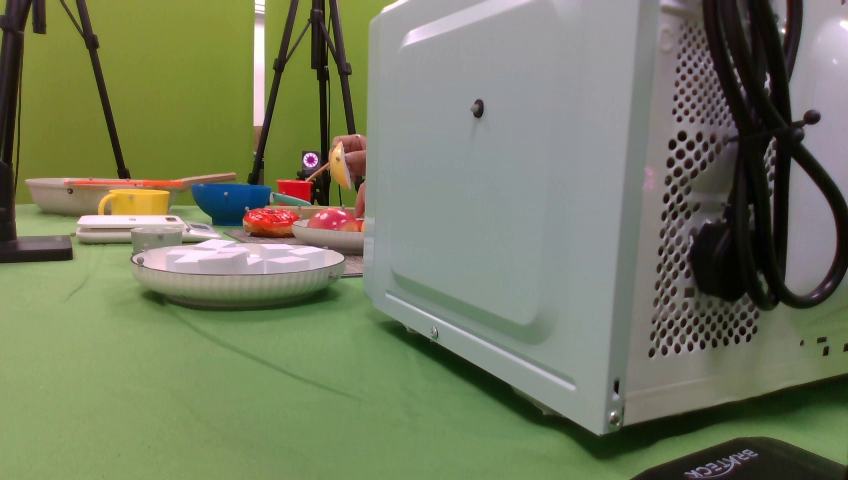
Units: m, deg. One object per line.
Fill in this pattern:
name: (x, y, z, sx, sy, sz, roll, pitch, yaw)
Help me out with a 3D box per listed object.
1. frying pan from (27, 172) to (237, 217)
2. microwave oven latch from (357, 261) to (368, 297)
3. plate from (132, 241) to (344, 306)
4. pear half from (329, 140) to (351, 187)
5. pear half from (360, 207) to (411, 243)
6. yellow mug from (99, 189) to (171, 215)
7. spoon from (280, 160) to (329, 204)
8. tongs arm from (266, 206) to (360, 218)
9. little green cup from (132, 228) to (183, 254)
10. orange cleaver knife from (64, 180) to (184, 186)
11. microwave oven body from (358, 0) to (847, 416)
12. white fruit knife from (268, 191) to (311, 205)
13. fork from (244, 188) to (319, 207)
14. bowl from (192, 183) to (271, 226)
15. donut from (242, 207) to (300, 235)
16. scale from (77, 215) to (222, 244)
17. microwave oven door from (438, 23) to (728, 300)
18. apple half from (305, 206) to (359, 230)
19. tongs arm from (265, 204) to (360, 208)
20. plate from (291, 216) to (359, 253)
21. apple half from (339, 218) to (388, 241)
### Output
frying pan: (-0.624, -0.118, 1.387, 0.305, 0.102, 0.490, 8, 18, 32)
microwave oven latch: (-0.019, 0.033, 0.531, 0.079, 0.029, 0.030, -1, 7, -27)
plate: (-0.187, 0.033, 0.625, 0.208, 0.039, 0.207, 2, 7, 0)
pear half: (-0.148, -0.131, 1.047, 0.031, 0.087, 0.070, -16, -20, -5)
pear half: (-0.057, -0.021, 0.926, 0.076, 0.056, 0.110, 4, -2, 2)
yellow mug: (-0.519, -0.055, 1.080, 0.099, 0.064, 0.131, 6, 9, 26)
spoon: (-0.317, -0.159, 1.640, 0.194, 0.022, 0.041, -49, 32, -20)
tongs arm: (-0.173, -0.061, 1.362, 0.387, 0.026, 0.050, -1, 4, -31)
little green cup: (-0.342, 0.006, 0.779, 0.061, 0.038, 0.061, 2, 8, 0)
orange cleaver knife: (-0.595, -0.114, 1.212, 0.212, 0.012, 0.077, -4, 6, -41)
microwave oven body: (0.211, -0.047, 0.475, 0.444, 0.260, 0.324, -1, 7, -28)
white fruit knife: (-0.364, -0.105, 1.464, 0.208, 0.027, 0.016, 15, -1, -34)
fork: (-0.356, -0.105, 1.526, 0.208, 0.018, 0.028, 16, -5, -41)
bowl: (-0.382, -0.071, 1.202, 0.151, 0.077, 0.151, 3, 7, 0)
donut: (-0.263, -0.032, 1.039, 0.099, 0.048, 0.099, 4, 10, 0)
scale: (-0.434, -0.019, 0.963, 0.202, 0.031, 0.148, -1, 9, -27)
microwave oven door: (0.181, -0.072, 0.621, 0.358, 0.243, 0.039, -2, 8, -29)
apple half: (-0.137, -0.024, 0.915, 0.081, 0.053, 0.074, 1, 9, -39)
tongs arm: (-0.210, -0.069, 1.439, 0.389, 0.027, 0.028, 1, 0, -16)
plate: (-0.102, -0.009, 0.945, 0.209, 0.038, 0.209, 2, 8, 0)
apple half: (-0.096, -0.019, 0.984, 0.081, 0.033, 0.081, 2, 8, 0)
